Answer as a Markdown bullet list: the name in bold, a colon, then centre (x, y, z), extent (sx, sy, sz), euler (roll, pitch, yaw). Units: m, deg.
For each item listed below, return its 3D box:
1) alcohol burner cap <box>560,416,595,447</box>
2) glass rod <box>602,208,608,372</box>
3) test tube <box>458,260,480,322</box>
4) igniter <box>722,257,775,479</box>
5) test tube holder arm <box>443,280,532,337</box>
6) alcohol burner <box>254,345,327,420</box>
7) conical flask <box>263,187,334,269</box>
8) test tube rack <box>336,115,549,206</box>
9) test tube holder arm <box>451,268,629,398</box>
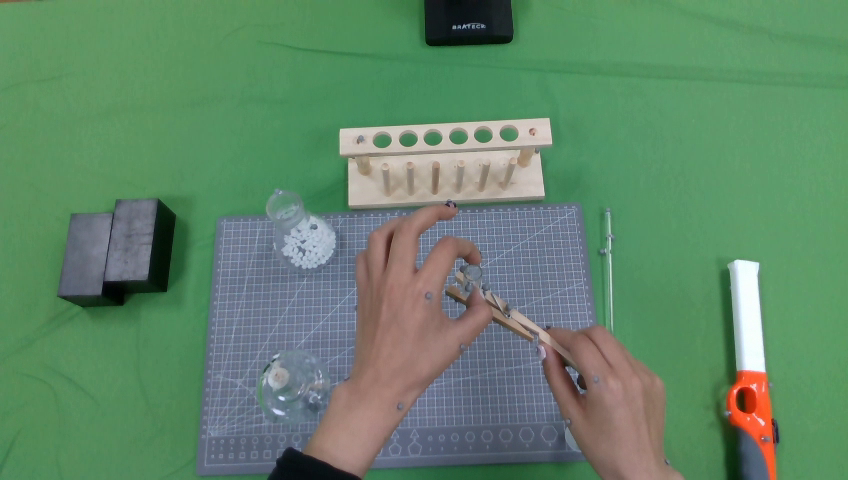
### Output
- **alcohol burner cap**: centre (0.165, 0.202, 0.643), extent (0.034, 0.048, 0.033), euler (0, 70, 1)
- **glass rod**: centre (0.213, 0.056, 0.712), extent (0.008, 0.008, 0.198), euler (4, 73, 2)
- **test tube**: centre (0.040, 0.050, 0.549), extent (0.017, 0.151, 0.017), euler (-1, 68, 2)
- **igniter**: centre (0.355, 0.152, 0.668), extent (0.057, 0.025, 0.275), euler (9, 71, -7)
- **test tube holder arm**: centre (0.056, 0.060, 0.530), extent (0.087, 0.015, 0.010), euler (27, 77, 13)
- **alcohol burner**: centre (-0.142, 0.145, 0.628), extent (0.078, 0.120, 0.077), euler (-1, 70, 3)
- **conical flask**: centre (-0.146, -0.018, 0.679), extent (0.075, 0.122, 0.075), euler (0, 71, 1)
- **test tube rack**: centre (0.022, -0.093, 0.725), extent (0.242, 0.086, 0.066), euler (-3, 71, 0)
- **test tube holder arm**: centre (0.097, 0.078, 0.520), extent (0.177, 0.015, 0.013), euler (33, 79, 15)
